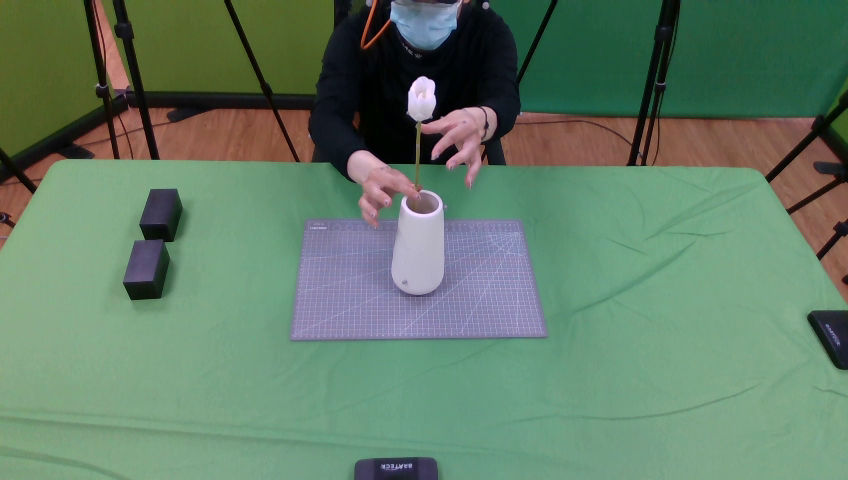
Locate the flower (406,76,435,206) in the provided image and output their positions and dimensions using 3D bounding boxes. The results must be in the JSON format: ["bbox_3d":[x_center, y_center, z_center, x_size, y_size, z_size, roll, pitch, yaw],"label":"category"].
[{"bbox_3d":[-0.013,-0.111,0.952,0.038,0.363,0.044,-12,60,-11],"label":"flower"}]

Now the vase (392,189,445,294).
[{"bbox_3d":[-0.007,0.007,1.060,0.098,0.201,0.097,2,48,-2],"label":"vase"}]
